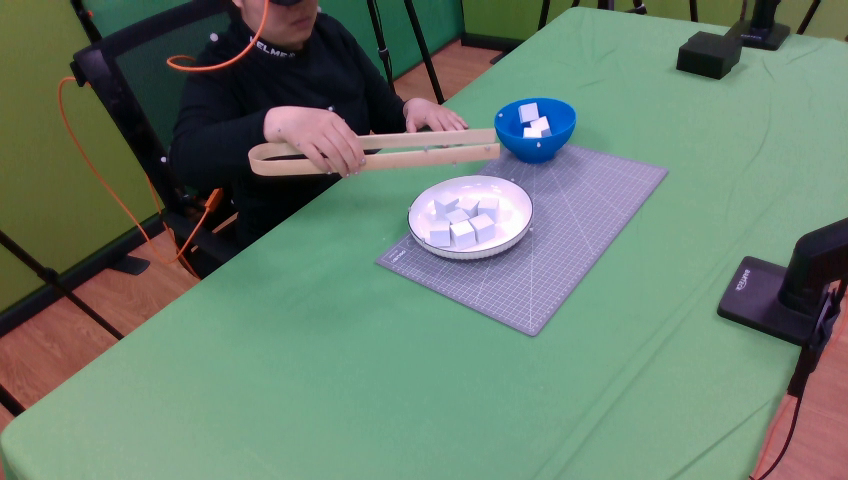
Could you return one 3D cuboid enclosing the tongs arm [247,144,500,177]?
[{"bbox_3d":[-0.076,-0.129,0.932,0.386,0.026,0.050,-7,39,-7],"label":"tongs arm"}]

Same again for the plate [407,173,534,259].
[{"bbox_3d":[0.076,-0.037,0.997,0.207,0.039,0.206,-5,40,5],"label":"plate"}]

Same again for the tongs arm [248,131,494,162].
[{"bbox_3d":[-0.079,-0.147,0.956,0.388,0.028,0.028,-5,43,-5],"label":"tongs arm"}]

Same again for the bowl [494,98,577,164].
[{"bbox_3d":[0.207,-0.196,1.128,0.151,0.077,0.150,-5,40,5],"label":"bowl"}]
